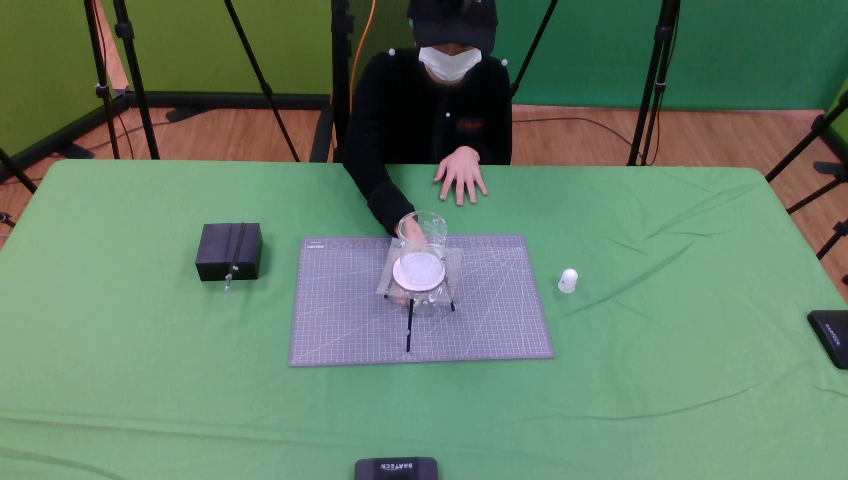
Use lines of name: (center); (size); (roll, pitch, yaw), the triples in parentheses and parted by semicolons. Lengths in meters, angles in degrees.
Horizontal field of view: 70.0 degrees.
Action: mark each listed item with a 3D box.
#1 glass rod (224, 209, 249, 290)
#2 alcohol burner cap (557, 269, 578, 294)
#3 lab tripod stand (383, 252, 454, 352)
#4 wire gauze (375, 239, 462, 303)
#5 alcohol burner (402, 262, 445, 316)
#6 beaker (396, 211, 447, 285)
glass rod: (-0.340, 0.013, 1.102); (0.008, 0.008, 0.198); (2, 45, -3)
alcohol burner cap: (0.270, 0.075, 1.135); (0.034, 0.048, 0.033); (3, 46, -3)
lab tripod stand: (-0.015, 0.094, 1.025); (0.148, 0.132, 0.147); (1, 46, -1)
wire gauze: (-0.006, 0.049, 0.978); (0.121, 0.011, 0.124); (10, 44, 5)
alcohol burner: (0.000, 0.078, 1.055); (0.078, 0.119, 0.077); (3, 48, -3)
beaker: (-0.002, 0.017, 0.941); (0.083, 0.101, 0.074); (36, 54, 28)
